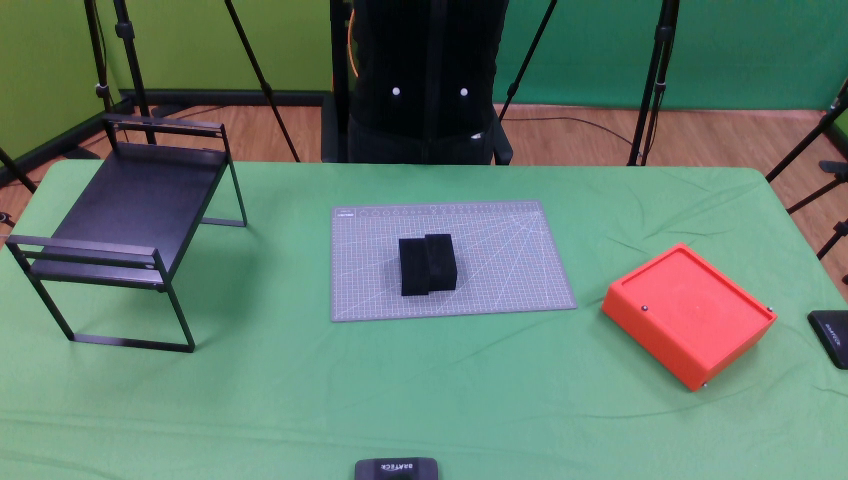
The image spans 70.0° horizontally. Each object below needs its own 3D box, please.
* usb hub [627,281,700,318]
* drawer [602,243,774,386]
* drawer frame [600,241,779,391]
[{"bbox_3d":[0.436,0.109,1.101,0.125,0.025,0.049,-9,46,-19],"label":"usb hub"},{"bbox_3d":[0.460,0.124,1.068,0.194,0.073,0.210,-24,52,-26],"label":"drawer"},{"bbox_3d":[0.462,0.124,1.066,0.202,0.083,0.212,-26,54,-26],"label":"drawer frame"}]
